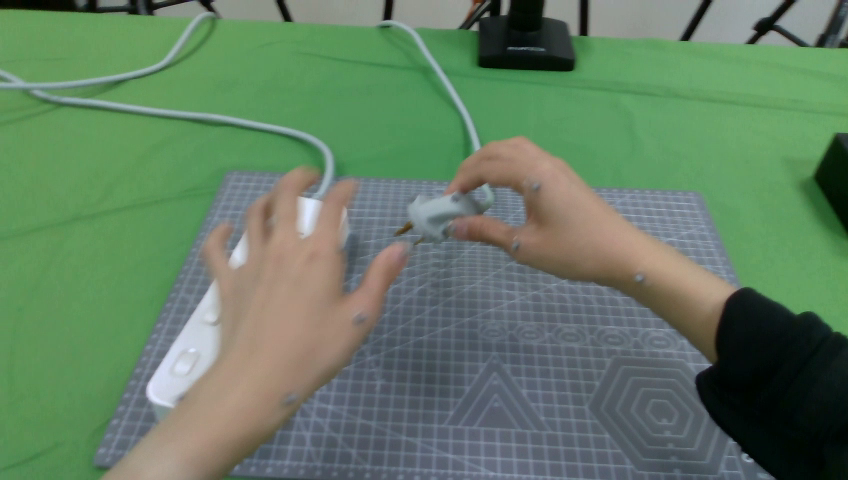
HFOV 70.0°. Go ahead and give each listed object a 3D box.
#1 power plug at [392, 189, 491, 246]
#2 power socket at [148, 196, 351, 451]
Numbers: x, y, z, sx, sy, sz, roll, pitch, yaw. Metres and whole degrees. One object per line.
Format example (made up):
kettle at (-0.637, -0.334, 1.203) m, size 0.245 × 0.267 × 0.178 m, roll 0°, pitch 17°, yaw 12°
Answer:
power plug at (0.015, -0.010, 0.419) m, size 0.052 × 0.073 × 0.035 m, roll -29°, pitch 57°, yaw 24°
power socket at (-0.117, 0.045, 0.447) m, size 0.072 × 0.033 × 0.225 m, roll 11°, pitch 44°, yaw 8°
